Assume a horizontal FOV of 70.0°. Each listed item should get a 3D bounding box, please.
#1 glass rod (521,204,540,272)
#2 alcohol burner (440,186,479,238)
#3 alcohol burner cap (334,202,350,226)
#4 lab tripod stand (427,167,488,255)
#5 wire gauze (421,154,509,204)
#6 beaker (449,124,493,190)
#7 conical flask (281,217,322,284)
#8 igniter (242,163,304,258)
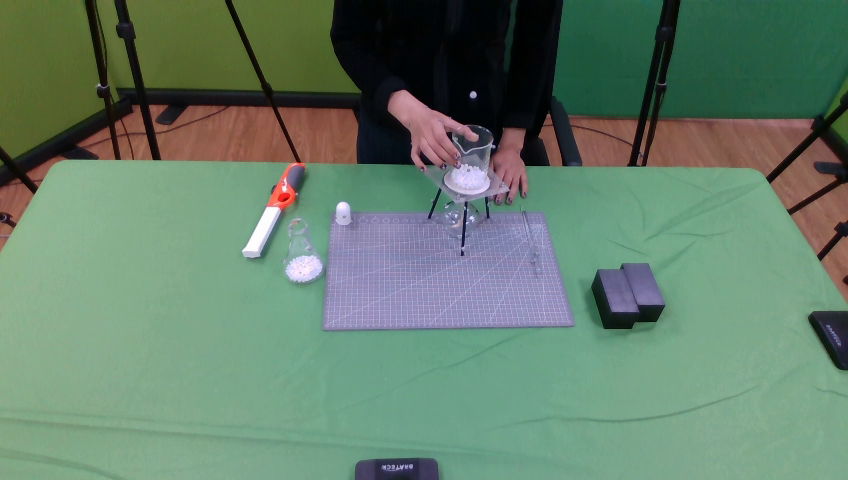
[{"bbox_3d":[0.214,-0.008,1.230,0.008,0.008,0.198,0,43,-3],"label":"glass rod"},{"bbox_3d":[0.072,-0.061,1.198,0.078,0.119,0.077,3,47,-3],"label":"alcohol burner"},{"bbox_3d":[-0.166,-0.055,1.223,0.034,0.048,0.033,2,45,-2],"label":"alcohol burner cap"},{"bbox_3d":[0.076,-0.068,1.191,0.148,0.132,0.147,2,44,-2],"label":"lab tripod stand"},{"bbox_3d":[0.078,-0.115,1.144,0.125,0.011,0.120,-19,47,-22],"label":"wire gauze"},{"bbox_3d":[0.083,-0.147,1.107,0.074,0.101,0.083,16,45,12],"label":"beaker"},{"bbox_3d":[-0.225,0.016,1.097,0.075,0.122,0.075,3,46,-2],"label":"conical flask"},{"bbox_3d":[-0.305,-0.069,1.239,0.057,0.025,0.275,2,45,12],"label":"igniter"}]
